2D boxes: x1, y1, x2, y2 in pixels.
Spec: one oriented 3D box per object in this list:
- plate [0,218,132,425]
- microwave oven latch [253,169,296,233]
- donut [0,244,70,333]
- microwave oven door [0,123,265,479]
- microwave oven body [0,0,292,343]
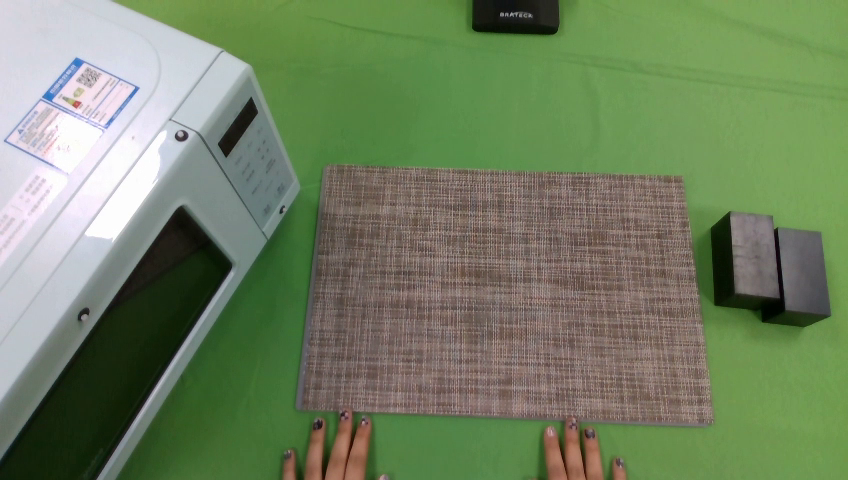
[{"bbox_3d":[-0.385,0.079,0.600,0.209,0.038,0.207,-2,67,6],"label":"plate"},{"bbox_3d":[-0.179,-0.049,0.711,0.030,0.029,0.079,25,72,8],"label":"microwave oven latch"},{"bbox_3d":[-0.412,0.049,0.614,0.099,0.048,0.098,2,54,-2],"label":"donut"},{"bbox_3d":[-0.278,0.095,0.545,0.039,0.245,0.354,25,71,9],"label":"microwave oven door"},{"bbox_3d":[-0.391,0.000,0.584,0.325,0.261,0.440,25,72,8],"label":"microwave oven body"}]
